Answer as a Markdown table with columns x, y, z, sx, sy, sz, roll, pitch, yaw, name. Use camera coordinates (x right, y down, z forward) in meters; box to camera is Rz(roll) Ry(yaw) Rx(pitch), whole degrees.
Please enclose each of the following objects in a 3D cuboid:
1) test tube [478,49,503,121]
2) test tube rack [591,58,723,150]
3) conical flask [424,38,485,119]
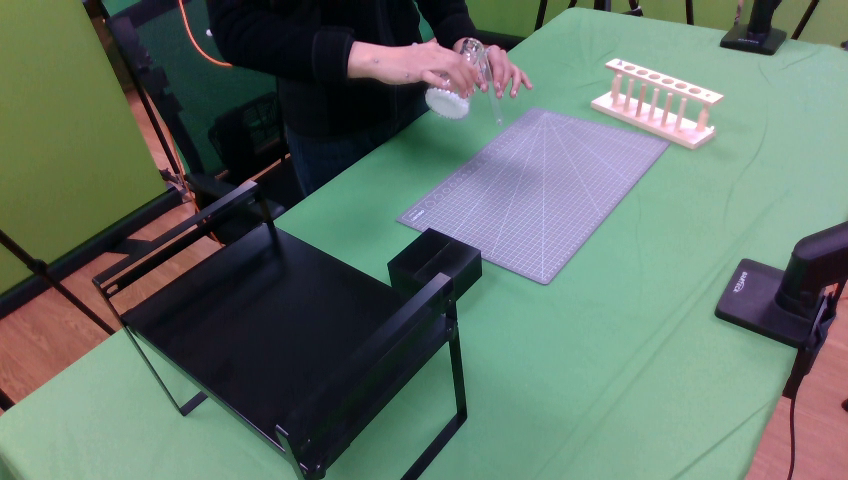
| x | y | z | sx | sy | sz | roll | pitch | yaw | name |
| --- | --- | --- | --- | --- | --- | --- | --- | --- | --- |
| 0.115 | -0.261 | 1.036 | 0.017 | 0.151 | 0.017 | -10 | 51 | 13 | test tube |
| 0.442 | -0.269 | 1.171 | 0.067 | 0.085 | 0.240 | -30 | 46 | -24 | test tube rack |
| 0.056 | -0.257 | 0.943 | 0.075 | 0.076 | 0.122 | 17 | 72 | 26 | conical flask |
